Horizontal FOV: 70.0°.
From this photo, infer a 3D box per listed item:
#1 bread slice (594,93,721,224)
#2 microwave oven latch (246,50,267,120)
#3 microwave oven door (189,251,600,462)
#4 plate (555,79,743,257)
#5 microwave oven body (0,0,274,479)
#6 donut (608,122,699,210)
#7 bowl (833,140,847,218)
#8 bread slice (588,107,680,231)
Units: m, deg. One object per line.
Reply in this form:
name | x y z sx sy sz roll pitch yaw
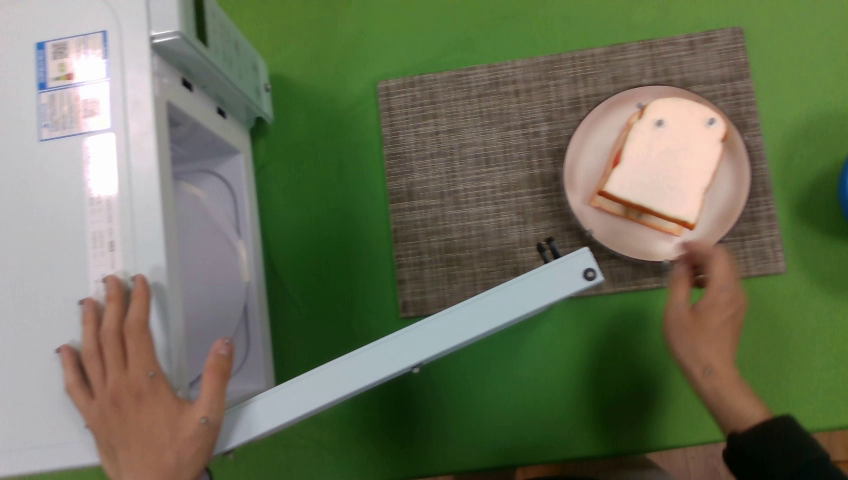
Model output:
bread slice | 0.255 -0.095 0.648 0.104 0.019 0.131 21 84 13
microwave oven latch | -0.215 -0.190 0.747 0.030 0.029 0.079 -9 83 4
microwave oven door | -0.015 0.105 0.593 0.356 0.244 0.039 -26 80 2
plate | 0.256 -0.081 0.705 0.207 0.039 0.207 -1 84 5
microwave oven body | -0.343 -0.005 0.641 0.326 0.261 0.440 -10 83 4
donut | 0.256 -0.082 0.678 0.099 0.048 0.099 -1 86 7
bowl | 0.515 -0.062 0.662 0.151 0.077 0.151 -1 83 5
bread slice | 0.259 -0.088 0.706 0.107 0.018 0.134 17 86 7
